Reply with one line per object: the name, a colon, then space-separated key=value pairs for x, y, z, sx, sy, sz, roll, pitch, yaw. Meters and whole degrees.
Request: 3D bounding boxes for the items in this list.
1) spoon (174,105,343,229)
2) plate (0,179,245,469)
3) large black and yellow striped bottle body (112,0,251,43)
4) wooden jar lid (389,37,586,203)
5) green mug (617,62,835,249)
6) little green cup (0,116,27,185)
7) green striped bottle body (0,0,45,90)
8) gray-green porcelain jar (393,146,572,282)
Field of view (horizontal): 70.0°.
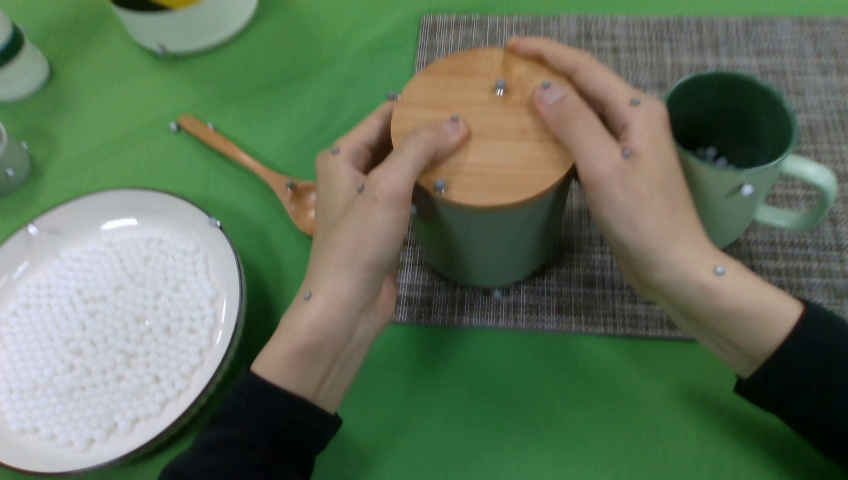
spoon: x=-0.138 y=-0.067 z=0.486 sx=0.192 sy=0.022 sz=0.041 roll=34 pitch=88 yaw=18
plate: x=-0.225 y=0.054 z=0.426 sx=0.209 sy=0.038 sz=0.207 roll=-2 pitch=64 yaw=4
large black and yellow striped bottle body: x=-0.231 y=-0.274 z=0.503 sx=0.131 sy=0.185 sz=0.129 roll=-2 pitch=64 yaw=4
wooden jar lid: x=0.035 y=-0.066 z=0.340 sx=0.108 sy=0.021 sz=0.107 roll=-2 pitch=66 yaw=5
green mug: x=0.197 y=-0.046 z=0.398 sx=0.125 sy=0.106 sz=0.092 roll=24 pitch=68 yaw=15
little green cup: x=-0.365 y=-0.074 z=0.499 sx=0.061 sy=0.039 sz=0.061 roll=-2 pitch=62 yaw=4
green striped bottle body: x=-0.387 y=-0.189 z=0.510 sx=0.063 sy=0.120 sz=0.062 roll=-2 pitch=64 yaw=5
gray-green porcelain jar: x=0.039 y=-0.039 z=0.394 sx=0.106 sy=0.127 sz=0.105 roll=-2 pitch=63 yaw=5
